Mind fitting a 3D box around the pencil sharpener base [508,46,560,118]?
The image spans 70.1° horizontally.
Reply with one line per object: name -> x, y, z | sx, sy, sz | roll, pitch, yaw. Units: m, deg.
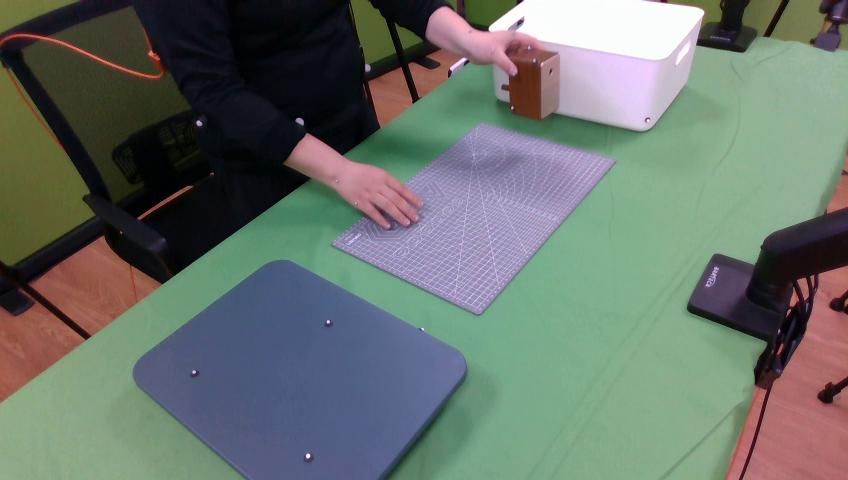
pencil sharpener base -> 0.194, -0.281, 1.073 | 0.076, 0.107, 0.061 | 23, 46, 38

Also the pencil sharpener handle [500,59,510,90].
pencil sharpener handle -> 0.154, -0.306, 1.096 | 0.030, 0.068, 0.036 | 23, 37, 38

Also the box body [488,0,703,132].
box body -> 0.346, -0.374, 1.251 | 0.361, 0.161, 0.255 | 21, 48, 29

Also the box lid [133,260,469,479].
box lid -> -0.156, 0.160, 0.747 | 0.368, 0.015, 0.264 | 23, 49, 31
